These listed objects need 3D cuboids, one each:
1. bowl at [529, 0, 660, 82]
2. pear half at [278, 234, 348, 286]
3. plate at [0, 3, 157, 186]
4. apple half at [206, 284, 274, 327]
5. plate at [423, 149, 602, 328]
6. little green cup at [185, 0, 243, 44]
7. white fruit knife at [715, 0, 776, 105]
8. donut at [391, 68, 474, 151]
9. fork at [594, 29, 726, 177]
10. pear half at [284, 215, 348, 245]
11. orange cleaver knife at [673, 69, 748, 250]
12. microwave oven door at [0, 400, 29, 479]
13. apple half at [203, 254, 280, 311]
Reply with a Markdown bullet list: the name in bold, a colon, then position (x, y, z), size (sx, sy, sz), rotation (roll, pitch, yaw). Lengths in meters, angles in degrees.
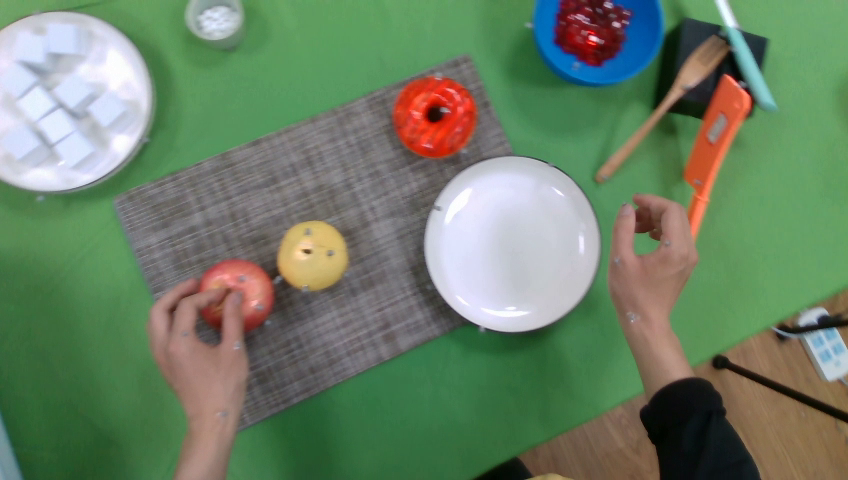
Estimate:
- **bowl**: position (0.191, -0.252, 0.720), size (0.151, 0.077, 0.151), rotation (0, 86, -5)
- **pear half**: position (-0.123, 0.022, 0.655), size (0.076, 0.110, 0.056), rotation (5, 85, 0)
- **plate**: position (-0.407, -0.161, 0.686), size (0.208, 0.039, 0.207), rotation (0, 86, -4)
- **apple half**: position (-0.194, 0.077, 0.663), size (0.081, 0.081, 0.033), rotation (-25, 88, -6)
- **plate**: position (0.102, -0.002, 0.710), size (0.209, 0.038, 0.208), rotation (0, 86, -5)
- **little green cup**: position (-0.242, -0.260, 0.706), size (0.061, 0.038, 0.061), rotation (0, 85, -4)
- **white fruit knife**: position (0.364, -0.252, 0.715), size (0.027, 0.016, 0.207), rotation (-20, 85, -34)
- **donut**: position (0.010, -0.153, 0.711), size (0.099, 0.048, 0.099), rotation (0, 87, -2)
- **fork**: position (0.273, -0.156, 0.715), size (0.028, 0.018, 0.207), rotation (36, 104, -7)
- **pear half**: position (-0.118, -0.012, 0.667), size (0.070, 0.088, 0.031), rotation (5, 85, 1)
- **orange cleaver knife**: position (0.329, -0.092, 0.717), size (0.012, 0.076, 0.212), rotation (8, 114, -5)
- **microwave oven door**: position (-0.441, 0.223, 0.534), size (0.039, 0.244, 0.355), rotation (-22, 87, -6)
- **apple half**: position (-0.205, 0.043, 0.665), size (0.081, 0.075, 0.053), rotation (-32, 86, 2)
